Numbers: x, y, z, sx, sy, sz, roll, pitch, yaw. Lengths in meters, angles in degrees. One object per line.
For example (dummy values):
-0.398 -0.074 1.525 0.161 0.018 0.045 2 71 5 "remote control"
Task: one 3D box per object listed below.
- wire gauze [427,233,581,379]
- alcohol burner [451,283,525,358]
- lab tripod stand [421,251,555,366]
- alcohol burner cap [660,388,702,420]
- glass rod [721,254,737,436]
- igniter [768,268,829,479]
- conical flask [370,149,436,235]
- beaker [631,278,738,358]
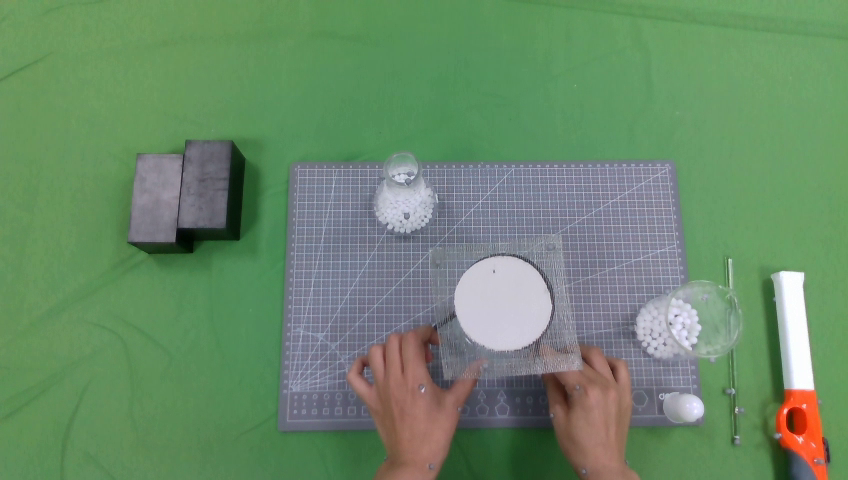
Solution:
0.070 0.057 0.536 0.125 0.011 0.121 -5 77 -2 "wire gauze"
0.066 0.078 0.611 0.078 0.119 0.077 0 74 1 "alcohol burner"
0.068 0.071 0.602 0.148 0.132 0.147 0 78 0 "lab tripod stand"
0.269 0.171 0.629 0.034 0.048 0.033 0 76 -1 "alcohol burner cap"
0.336 0.112 0.665 0.008 0.008 0.198 4 76 0 "glass rod"
0.396 0.167 0.643 0.057 0.025 0.275 4 77 -10 "igniter"
-0.024 -0.055 0.636 0.075 0.122 0.075 0 76 0 "conical flask"
0.263 0.082 0.621 0.084 0.100 0.073 -37 80 -10 "beaker"
